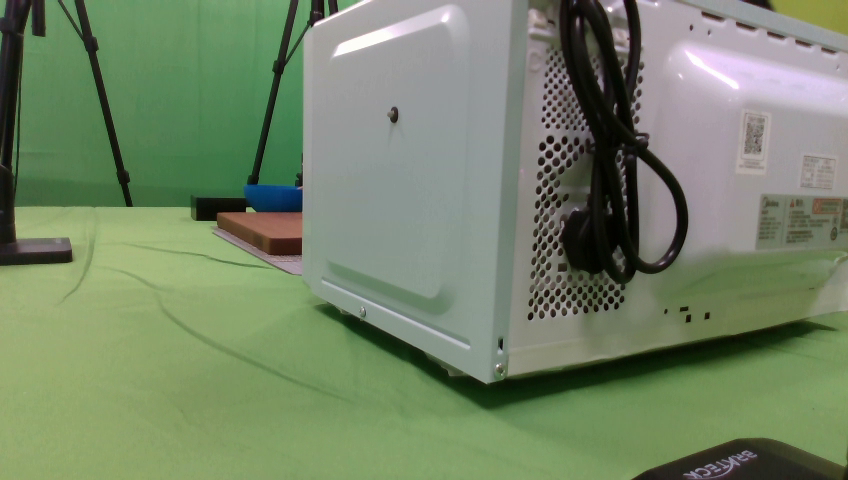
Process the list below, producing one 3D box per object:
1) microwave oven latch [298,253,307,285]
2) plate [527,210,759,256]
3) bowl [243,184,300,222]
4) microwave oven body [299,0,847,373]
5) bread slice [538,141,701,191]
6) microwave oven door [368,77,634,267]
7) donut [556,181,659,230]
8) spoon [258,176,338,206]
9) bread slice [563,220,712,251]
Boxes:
[{"bbox_3d":[-0.081,0.027,0.583,0.079,0.029,0.030,-2,8,-33],"label":"microwave oven latch"},{"bbox_3d":[0.203,-0.009,0.580,0.208,0.039,0.207,0,3,0],"label":"plate"},{"bbox_3d":[-0.321,-0.081,1.334,0.151,0.077,0.151,3,7,0],"label":"bowl"},{"bbox_3d":[0.151,-0.055,0.543,0.444,0.260,0.324,-2,7,-33],"label":"microwave oven body"},{"bbox_3d":[0.193,-0.072,0.580,0.107,0.018,0.133,-1,20,-34],"label":"bread slice"},{"bbox_3d":[0.094,-0.099,0.832,0.355,0.243,0.039,5,8,18],"label":"microwave oven door"},{"bbox_3d":[0.180,-0.033,0.597,0.099,0.048,0.099,-2,7,1],"label":"donut"},{"bbox_3d":[-0.279,-0.112,1.357,0.194,0.021,0.041,-28,19,-26],"label":"spoon"},{"bbox_3d":[0.207,-0.006,0.576,0.105,0.019,0.131,2,5,-10],"label":"bread slice"}]
